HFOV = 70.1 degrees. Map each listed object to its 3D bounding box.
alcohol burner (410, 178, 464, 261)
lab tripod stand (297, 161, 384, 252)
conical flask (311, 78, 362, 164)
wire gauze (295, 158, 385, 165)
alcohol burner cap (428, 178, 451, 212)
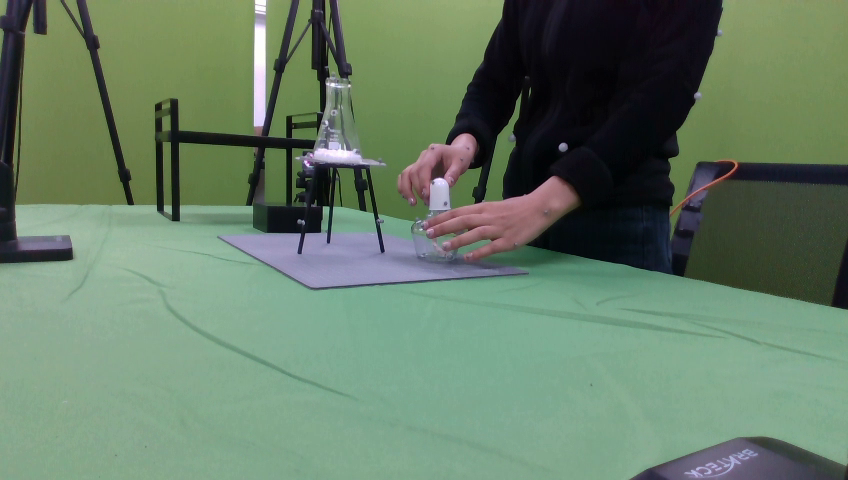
[{"bbox_3d":[0.020,-0.029,0.864,0.078,0.119,0.078,4,6,0],"label":"alcohol burner"},{"bbox_3d":[-0.131,-0.051,0.903,0.148,0.131,0.148,3,9,0],"label":"lab tripod stand"},{"bbox_3d":[-0.128,-0.174,0.890,0.075,0.122,0.075,3,8,0],"label":"conical flask"},{"bbox_3d":[-0.128,-0.117,0.901,0.125,0.011,0.121,-2,8,-14],"label":"wire gauze"},{"bbox_3d":[0.022,-0.064,0.859,0.034,0.048,0.034,-1,7,0],"label":"alcohol burner cap"}]
